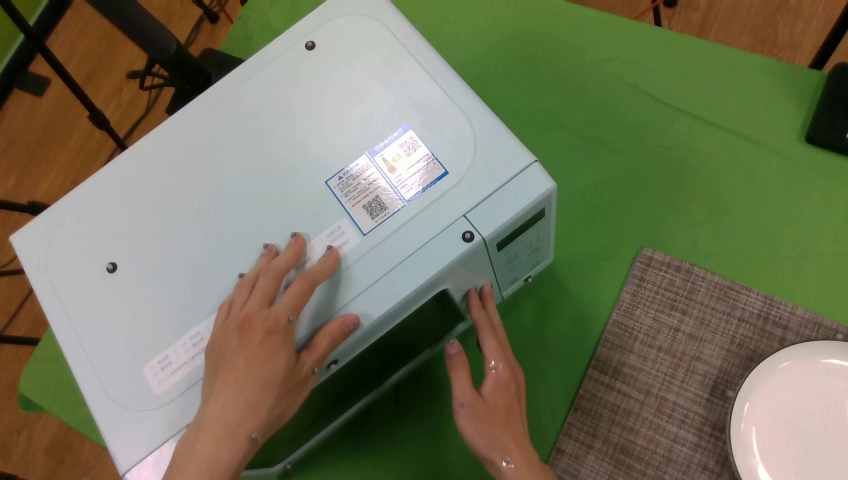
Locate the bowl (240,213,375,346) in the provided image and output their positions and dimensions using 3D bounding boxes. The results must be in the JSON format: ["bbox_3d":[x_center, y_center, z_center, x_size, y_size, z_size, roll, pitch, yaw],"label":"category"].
[{"bbox_3d":[-0.120,0.053,0.684,0.151,0.077,0.150,-4,68,11],"label":"bowl"}]

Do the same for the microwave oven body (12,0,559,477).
[{"bbox_3d":[-0.127,0.000,0.663,0.441,0.262,0.323,-38,70,-1],"label":"microwave oven body"}]

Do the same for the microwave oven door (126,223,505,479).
[{"bbox_3d":[-0.077,0.131,0.606,0.356,0.245,0.039,-38,69,-2],"label":"microwave oven door"}]

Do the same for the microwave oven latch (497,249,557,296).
[{"bbox_3d":[0.118,0.031,0.709,0.079,0.030,0.030,-36,70,-1],"label":"microwave oven latch"}]

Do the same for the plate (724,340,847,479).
[{"bbox_3d":[0.411,0.207,0.611,0.207,0.039,0.206,-3,72,10],"label":"plate"}]
